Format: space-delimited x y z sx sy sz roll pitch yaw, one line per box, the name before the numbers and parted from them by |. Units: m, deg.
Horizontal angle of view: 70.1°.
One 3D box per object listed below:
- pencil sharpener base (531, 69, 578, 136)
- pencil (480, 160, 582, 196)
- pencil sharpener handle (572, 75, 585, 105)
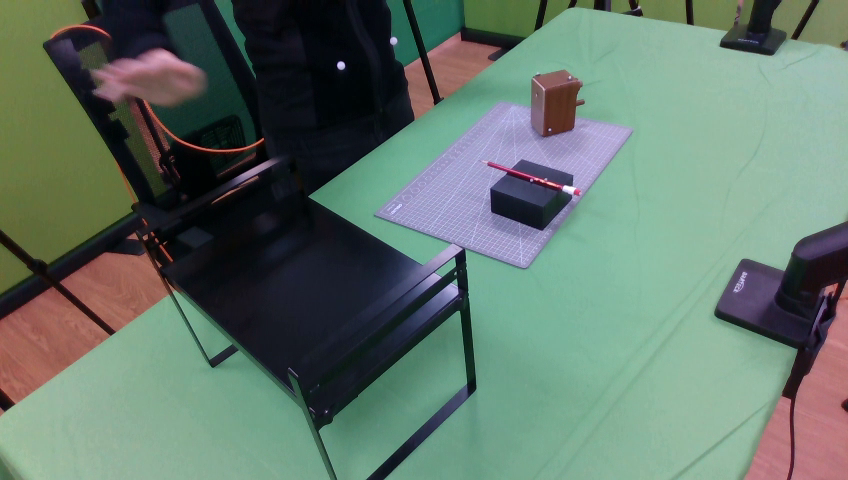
pencil sharpener base | 0.256 -0.268 1.179 0.077 0.107 0.061 -15 41 -9
pencil | 0.173 -0.106 1.003 0.192 0.012 0.012 23 49 32
pencil sharpener handle | 0.303 -0.292 1.181 0.031 0.068 0.035 -15 49 -9
